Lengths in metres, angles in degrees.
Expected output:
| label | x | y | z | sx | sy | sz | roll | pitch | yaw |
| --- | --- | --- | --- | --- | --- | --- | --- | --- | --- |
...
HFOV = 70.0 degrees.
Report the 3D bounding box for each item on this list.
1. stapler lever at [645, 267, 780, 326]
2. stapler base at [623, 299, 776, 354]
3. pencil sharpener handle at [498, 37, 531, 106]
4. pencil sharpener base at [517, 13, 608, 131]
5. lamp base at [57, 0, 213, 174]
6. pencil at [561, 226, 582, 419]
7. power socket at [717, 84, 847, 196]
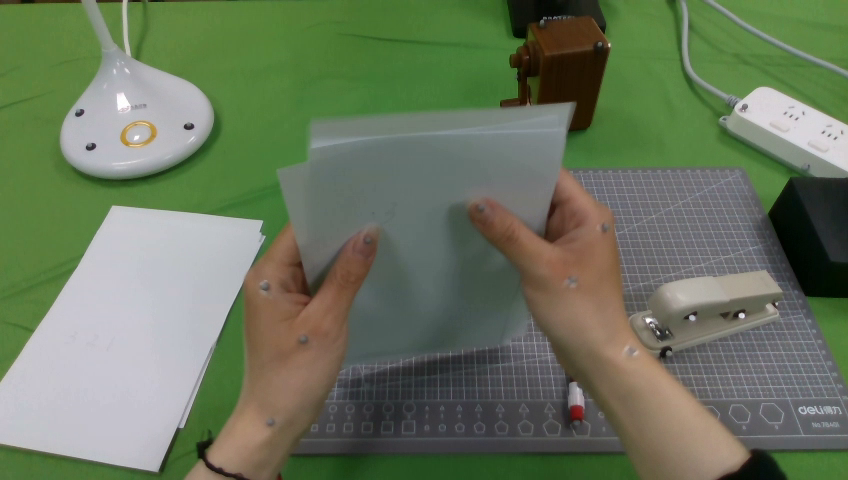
| label | x | y | z | sx | sy | sz | roll | pitch | yaw |
| --- | --- | --- | --- | --- | --- | --- | --- | --- | --- |
| stapler lever | 0.233 | 0.041 | 0.485 | 0.118 | 0.040 | 0.026 | -13 | 53 | -12 |
| stapler base | 0.231 | 0.058 | 0.504 | 0.131 | 0.024 | 0.041 | -13 | 53 | -12 |
| pencil sharpener handle | 0.091 | -0.172 | 0.625 | 0.031 | 0.068 | 0.035 | -9 | 29 | -6 |
| pencil sharpener base | 0.140 | -0.176 | 0.645 | 0.077 | 0.108 | 0.060 | -9 | 51 | -6 |
| lamp base | -0.320 | -0.186 | 0.607 | 0.161 | 0.182 | 0.177 | -25 | 52 | -19 |
| pencil | 0.123 | 0.059 | 0.513 | 0.012 | 0.012 | 0.192 | 5 | 49 | 4 |
| power socket | 0.420 | -0.093 | 0.624 | 0.072 | 0.033 | 0.224 | -34 | 58 | -25 |
